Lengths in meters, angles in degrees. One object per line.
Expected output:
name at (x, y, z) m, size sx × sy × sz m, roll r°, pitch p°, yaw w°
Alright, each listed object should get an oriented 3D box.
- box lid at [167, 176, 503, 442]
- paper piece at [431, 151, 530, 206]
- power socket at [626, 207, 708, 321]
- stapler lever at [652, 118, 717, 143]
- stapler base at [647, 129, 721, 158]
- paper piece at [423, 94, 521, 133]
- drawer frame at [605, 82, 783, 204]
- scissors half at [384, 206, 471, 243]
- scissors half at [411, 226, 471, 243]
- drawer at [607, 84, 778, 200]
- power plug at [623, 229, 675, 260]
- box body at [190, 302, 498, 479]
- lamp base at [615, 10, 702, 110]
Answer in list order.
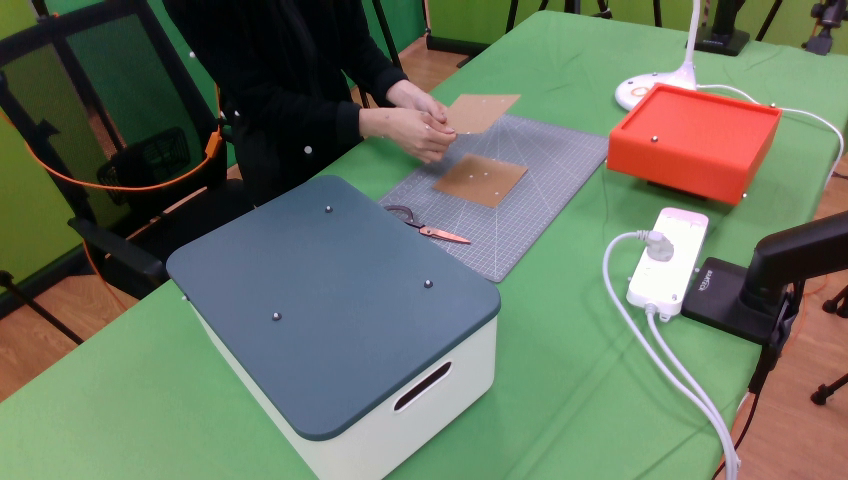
box lid at (-0.119, 0.047, 0.714) m, size 0.264 × 0.015 × 0.368 m, roll -32°, pitch 47°, yaw -27°
paper piece at (0.104, -0.116, 1.104) m, size 0.135 × 0.004 × 0.136 m, roll 21°, pitch 47°, yaw 28°
power socket at (0.360, 0.026, 0.886) m, size 0.072 × 0.033 × 0.227 m, roll 16°, pitch 46°, yaw 26°
stapler lever at (0.436, -0.191, 1.014) m, size 0.118 × 0.040 × 0.026 m, roll -16°, pitch 25°, yaw -16°
stapler base at (0.439, -0.167, 1.023) m, size 0.131 × 0.024 × 0.041 m, roll -16°, pitch 25°, yaw -15°
paper piece at (0.085, -0.228, 1.083) m, size 0.137 × 0.009 × 0.136 m, roll 10°, pitch 42°, yaw 41°
drawer frame at (0.441, -0.167, 0.995) m, size 0.212 × 0.083 × 0.202 m, roll 23°, pitch 48°, yaw 30°
scissors half at (0.001, -0.024, 1.005) m, size 0.174 × 0.013 × 0.040 m, roll 22°, pitch 57°, yaw 26°
scissors half at (-0.007, -0.010, 0.993) m, size 0.174 × 0.013 × 0.040 m, roll 7°, pitch 47°, yaw 16°
drawer at (0.438, -0.167, 0.995) m, size 0.210 × 0.073 × 0.195 m, roll 23°, pitch 48°, yaw 30°
power plug at (0.327, 0.007, 0.878) m, size 0.072 × 0.053 × 0.035 m, roll 25°, pitch 51°, yaw 32°
box body at (-0.110, 0.103, 0.761) m, size 0.255 × 0.161 × 0.361 m, roll -33°, pitch 46°, yaw -27°
lamp base at (0.484, -0.364, 1.211) m, size 0.180 × 0.181 × 0.159 m, roll -15°, pitch 41°, yaw -14°
